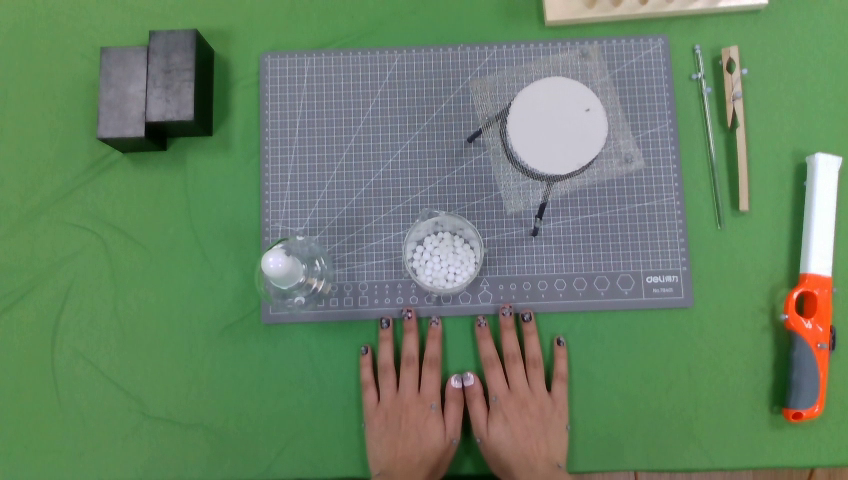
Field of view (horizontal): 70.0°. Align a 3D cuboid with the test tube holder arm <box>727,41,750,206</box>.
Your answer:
[{"bbox_3d":[0.333,-0.124,0.643,0.013,0.015,0.178,-7,82,34],"label":"test tube holder arm"}]

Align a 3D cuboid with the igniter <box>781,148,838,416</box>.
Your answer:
[{"bbox_3d":[0.395,0.041,0.619,0.057,0.025,0.275,10,83,-7],"label":"igniter"}]

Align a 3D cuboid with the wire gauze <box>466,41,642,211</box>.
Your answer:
[{"bbox_3d":[0.109,-0.101,0.519,0.121,0.011,0.124,-17,83,0],"label":"wire gauze"}]

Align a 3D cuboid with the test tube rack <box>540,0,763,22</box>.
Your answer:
[{"bbox_3d":[0.248,-0.290,0.634,0.242,0.085,0.066,-5,82,1],"label":"test tube rack"}]

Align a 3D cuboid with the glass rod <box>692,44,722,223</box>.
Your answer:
[{"bbox_3d":[0.302,-0.116,0.650,0.008,0.008,0.199,-4,82,1],"label":"glass rod"}]

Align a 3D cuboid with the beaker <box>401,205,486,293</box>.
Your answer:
[{"bbox_3d":[0.017,0.013,0.592,0.074,0.100,0.083,-24,82,-2],"label":"beaker"}]

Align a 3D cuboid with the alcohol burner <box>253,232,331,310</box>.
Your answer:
[{"bbox_3d":[-0.131,0.028,0.585,0.078,0.119,0.077,0,80,2],"label":"alcohol burner"}]

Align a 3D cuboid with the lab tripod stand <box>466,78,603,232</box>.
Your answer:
[{"bbox_3d":[0.107,-0.089,0.585,0.148,0.132,0.148,0,83,3],"label":"lab tripod stand"}]

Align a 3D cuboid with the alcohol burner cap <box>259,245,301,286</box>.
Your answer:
[{"bbox_3d":[-0.133,0.021,0.550,0.034,0.048,0.033,0,73,1],"label":"alcohol burner cap"}]

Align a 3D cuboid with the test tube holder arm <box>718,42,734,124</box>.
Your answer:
[{"bbox_3d":[0.326,-0.168,0.652,0.010,0.015,0.087,-7,82,34],"label":"test tube holder arm"}]
